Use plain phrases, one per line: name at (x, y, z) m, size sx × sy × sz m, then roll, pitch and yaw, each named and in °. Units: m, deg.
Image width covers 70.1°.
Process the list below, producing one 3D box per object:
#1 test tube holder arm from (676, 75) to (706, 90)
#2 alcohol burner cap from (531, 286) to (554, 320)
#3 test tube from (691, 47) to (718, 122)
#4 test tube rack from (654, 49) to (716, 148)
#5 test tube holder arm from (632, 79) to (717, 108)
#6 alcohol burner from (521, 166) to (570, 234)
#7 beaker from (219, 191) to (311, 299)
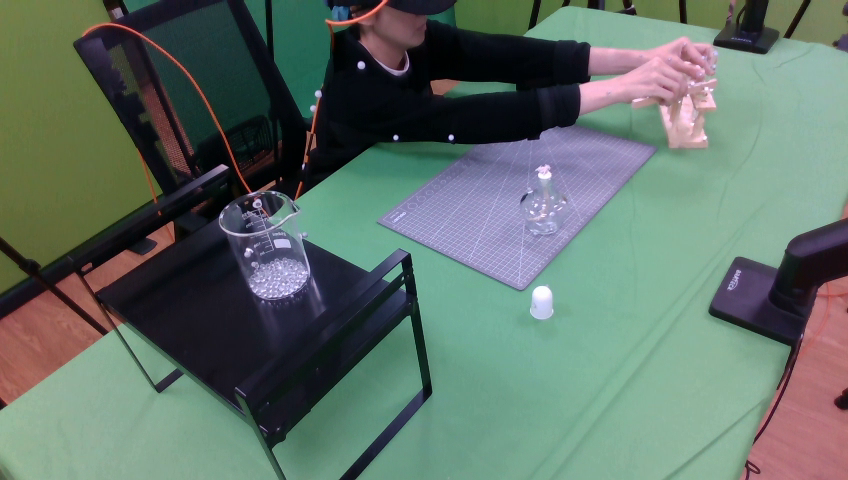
test tube holder arm at (0.468, -0.271, 1.062) m, size 0.088 × 0.015 × 0.010 m, roll -29°, pitch 44°, yaw -31°
alcohol burner cap at (0.164, 0.084, 0.838) m, size 0.034 × 0.048 × 0.033 m, roll -4°, pitch 40°, yaw 4°
test tube at (0.498, -0.274, 1.078) m, size 0.017 × 0.151 × 0.017 m, roll -4°, pitch 47°, yaw 5°
test tube rack at (0.502, -0.281, 1.176) m, size 0.066 × 0.085 × 0.241 m, roll 1°, pitch 41°, yaw 11°
test tube holder arm at (0.433, -0.253, 1.041) m, size 0.179 × 0.015 × 0.013 m, roll -18°, pitch 38°, yaw -19°
alcohol burner at (0.192, -0.068, 0.951) m, size 0.078 × 0.119 × 0.077 m, roll -4°, pitch 42°, yaw 4°
beaker at (-0.164, 0.008, 0.654) m, size 0.084 × 0.101 × 0.073 m, roll -10°, pitch 41°, yaw -3°
